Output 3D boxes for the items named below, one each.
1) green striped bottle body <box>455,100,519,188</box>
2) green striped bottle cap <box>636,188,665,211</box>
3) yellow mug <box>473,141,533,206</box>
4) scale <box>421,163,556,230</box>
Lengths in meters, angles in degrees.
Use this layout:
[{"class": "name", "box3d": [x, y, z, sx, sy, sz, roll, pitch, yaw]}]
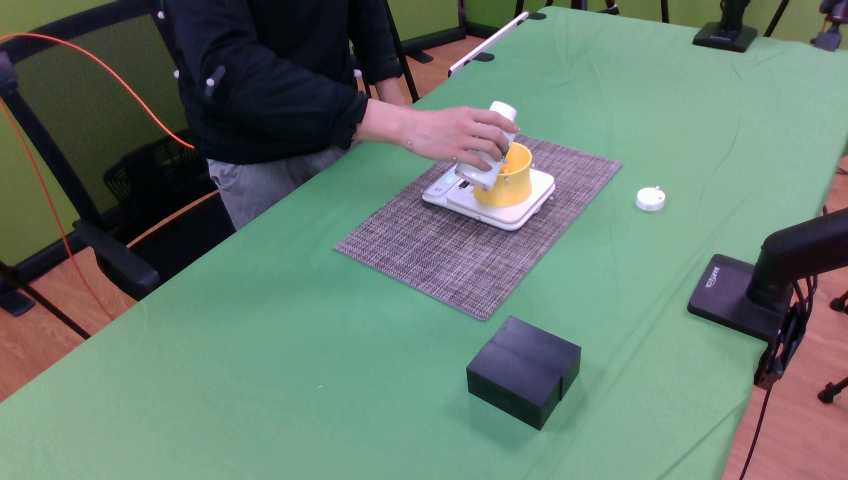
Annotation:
[{"class": "green striped bottle body", "box3d": [0.097, -0.142, 0.884, 0.062, 0.064, 0.119, 26, 92, 33]}, {"class": "green striped bottle cap", "box3d": [0.374, -0.067, 0.998, 0.044, 0.020, 0.044, -6, 39, 5]}, {"class": "yellow mug", "box3d": [0.125, -0.120, 1.004, 0.100, 0.064, 0.130, -13, 40, -5]}, {"class": "scale", "box3d": [0.110, -0.089, 1.042, 0.199, 0.032, 0.149, 23, 48, 31]}]
